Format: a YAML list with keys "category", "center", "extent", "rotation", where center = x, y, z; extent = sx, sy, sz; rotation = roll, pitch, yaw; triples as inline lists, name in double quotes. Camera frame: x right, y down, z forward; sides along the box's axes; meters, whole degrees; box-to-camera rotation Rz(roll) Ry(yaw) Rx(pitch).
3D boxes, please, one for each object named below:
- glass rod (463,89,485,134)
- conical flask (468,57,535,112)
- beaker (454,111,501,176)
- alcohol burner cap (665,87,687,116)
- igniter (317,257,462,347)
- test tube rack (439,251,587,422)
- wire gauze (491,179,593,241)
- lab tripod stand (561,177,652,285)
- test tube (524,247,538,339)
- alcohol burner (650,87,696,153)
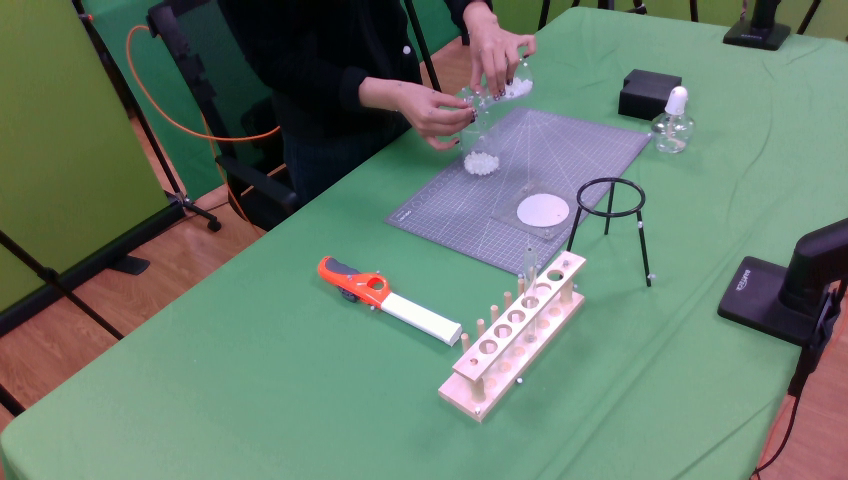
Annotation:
- category: "glass rod"
  center: [0.087, -0.215, 1.030]
  extent: [0.008, 0.201, 0.008]
  rotation: [-2, 80, 14]
- category: "conical flask"
  center: [0.132, -0.267, 1.065]
  extent: [0.122, 0.075, 0.074]
  rotation: [-36, 47, -28]
- category: "beaker"
  center: [0.101, -0.174, 1.106]
  extent: [0.084, 0.101, 0.073]
  rotation: [-5, 40, 6]
- category: "alcohol burner cap"
  center: [0.445, -0.244, 1.060]
  extent: [0.034, 0.048, 0.033]
  rotation: [-2, 45, 3]
- category: "igniter"
  center: [-0.061, 0.086, 0.891]
  extent: [0.274, 0.025, 0.057]
  rotation: [23, 59, 33]
- category: "test tube rack"
  center: [0.118, 0.111, 0.780]
  extent: [0.066, 0.085, 0.243]
  rotation: [26, 51, 34]
- category: "wire gauze"
  center: [0.198, -0.051, 1.014]
  extent: [0.125, 0.011, 0.120]
  rotation: [-38, 48, -27]
- category: "lab tripod stand"
  center: [0.263, -0.014, 0.864]
  extent: [0.148, 0.132, 0.147]
  rotation: [-7, 38, 6]
- category: "test tube"
  center: [0.133, 0.070, 0.749]
  extent: [0.017, 0.151, 0.017]
  rotation: [-5, 38, 4]
- category: "alcohol burner"
  center: [0.448, -0.217, 1.084]
  extent: [0.078, 0.119, 0.077]
  rotation: [-6, 38, 5]
